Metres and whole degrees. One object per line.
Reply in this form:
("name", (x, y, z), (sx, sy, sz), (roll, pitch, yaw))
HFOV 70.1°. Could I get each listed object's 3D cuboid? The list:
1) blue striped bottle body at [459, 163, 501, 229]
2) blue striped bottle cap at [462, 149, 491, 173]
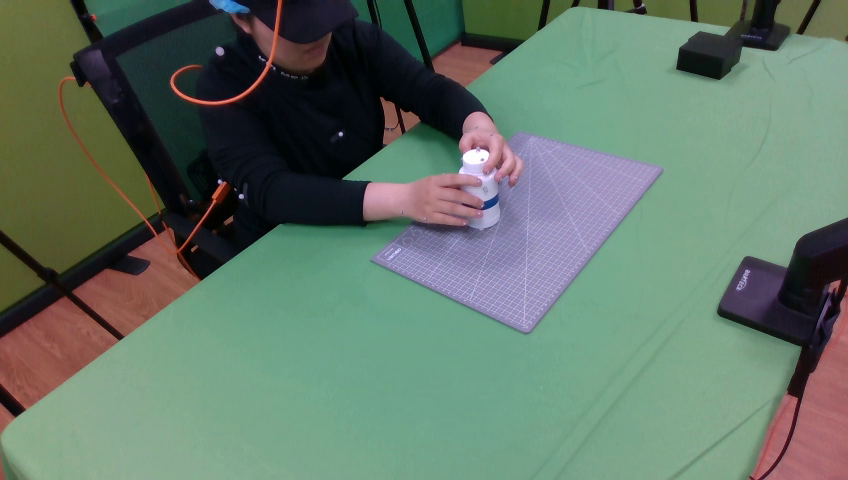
("blue striped bottle body", (0.091, -0.083, 0.982), (0.063, 0.121, 0.063), (-6, 40, 5))
("blue striped bottle cap", (0.082, -0.124, 0.947), (0.044, 0.021, 0.044), (-4, 38, 3))
